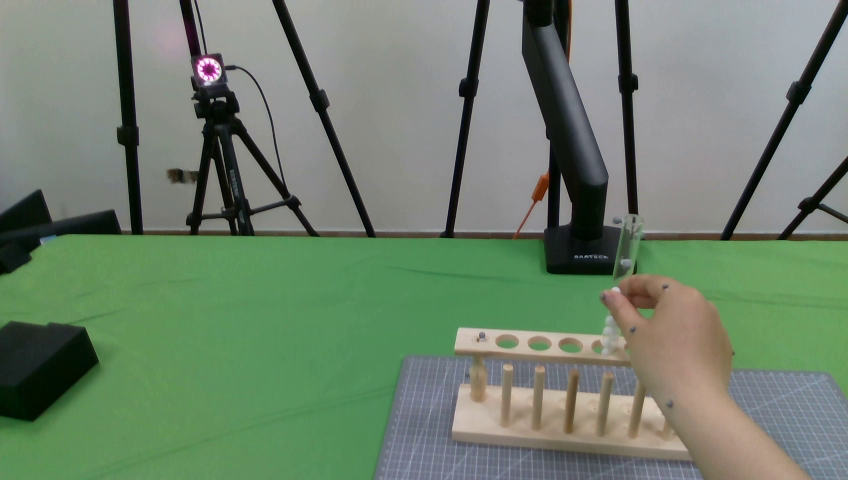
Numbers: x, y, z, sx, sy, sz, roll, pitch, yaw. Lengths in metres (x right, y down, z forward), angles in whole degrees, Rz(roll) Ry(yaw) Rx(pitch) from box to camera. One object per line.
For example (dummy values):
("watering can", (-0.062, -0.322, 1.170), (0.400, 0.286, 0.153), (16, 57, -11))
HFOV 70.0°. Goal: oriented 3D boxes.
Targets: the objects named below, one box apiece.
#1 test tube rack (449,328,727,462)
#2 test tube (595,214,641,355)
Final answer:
("test tube rack", (0.147, 0.142, 0.564), (0.242, 0.086, 0.066), (2, 29, 9))
("test tube", (0.164, 0.044, 0.517), (0.017, 0.151, 0.017), (-1, 34, 1))
